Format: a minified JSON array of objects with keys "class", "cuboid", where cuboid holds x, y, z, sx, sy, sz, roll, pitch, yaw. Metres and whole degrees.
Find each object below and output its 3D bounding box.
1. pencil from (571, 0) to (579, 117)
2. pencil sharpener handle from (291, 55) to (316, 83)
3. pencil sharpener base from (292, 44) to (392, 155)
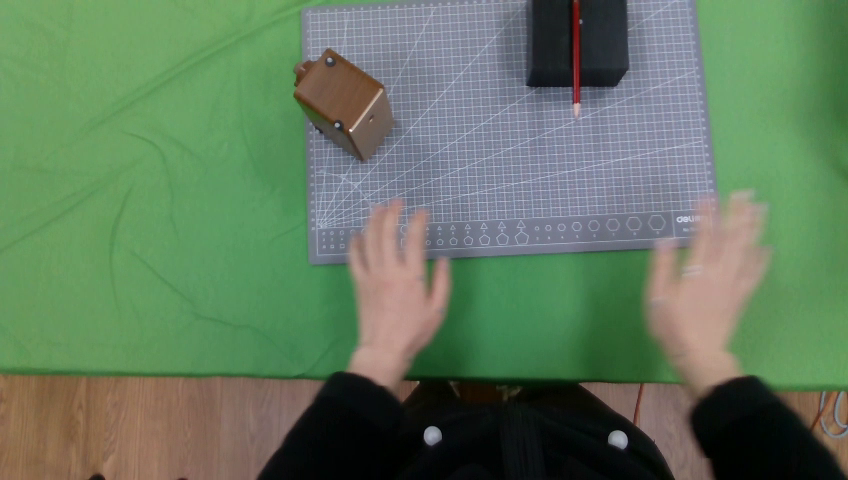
[{"class":"pencil","cuboid":[0.158,-0.222,0.632,0.012,0.012,0.193,1,84,2]},{"class":"pencil sharpener handle","cuboid":[-0.127,-0.173,0.622,0.030,0.068,0.036,36,78,6]},{"class":"pencil sharpener base","cuboid":[-0.084,-0.143,0.630,0.076,0.107,0.061,36,86,6]}]
